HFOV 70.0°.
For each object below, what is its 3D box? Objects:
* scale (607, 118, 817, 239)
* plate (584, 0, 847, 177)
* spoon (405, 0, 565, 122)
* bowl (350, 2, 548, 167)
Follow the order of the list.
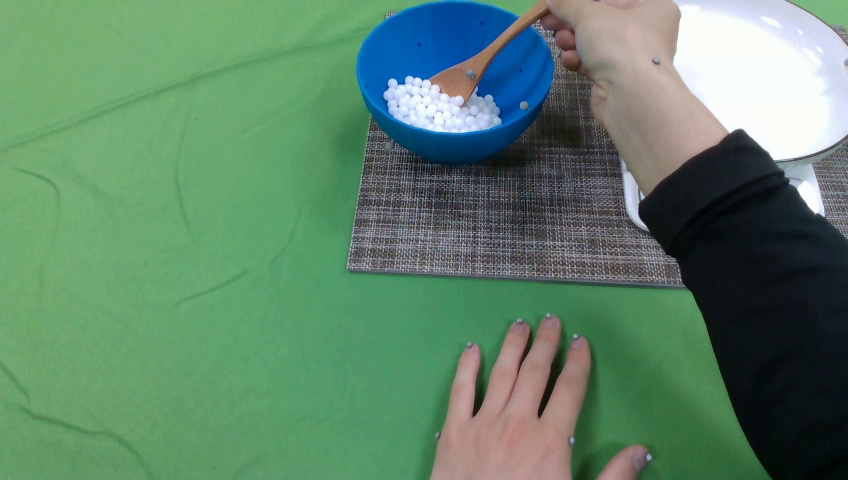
[{"bbox_3d":[0.228,-0.091,0.501,0.148,0.032,0.199,2,57,2],"label":"scale"},{"bbox_3d":[0.230,-0.128,0.486,0.209,0.038,0.207,0,57,0],"label":"plate"},{"bbox_3d":[0.062,-0.153,0.459,0.194,0.022,0.041,-34,65,29],"label":"spoon"},{"bbox_3d":[0.020,-0.112,0.489,0.151,0.077,0.150,0,57,1],"label":"bowl"}]
